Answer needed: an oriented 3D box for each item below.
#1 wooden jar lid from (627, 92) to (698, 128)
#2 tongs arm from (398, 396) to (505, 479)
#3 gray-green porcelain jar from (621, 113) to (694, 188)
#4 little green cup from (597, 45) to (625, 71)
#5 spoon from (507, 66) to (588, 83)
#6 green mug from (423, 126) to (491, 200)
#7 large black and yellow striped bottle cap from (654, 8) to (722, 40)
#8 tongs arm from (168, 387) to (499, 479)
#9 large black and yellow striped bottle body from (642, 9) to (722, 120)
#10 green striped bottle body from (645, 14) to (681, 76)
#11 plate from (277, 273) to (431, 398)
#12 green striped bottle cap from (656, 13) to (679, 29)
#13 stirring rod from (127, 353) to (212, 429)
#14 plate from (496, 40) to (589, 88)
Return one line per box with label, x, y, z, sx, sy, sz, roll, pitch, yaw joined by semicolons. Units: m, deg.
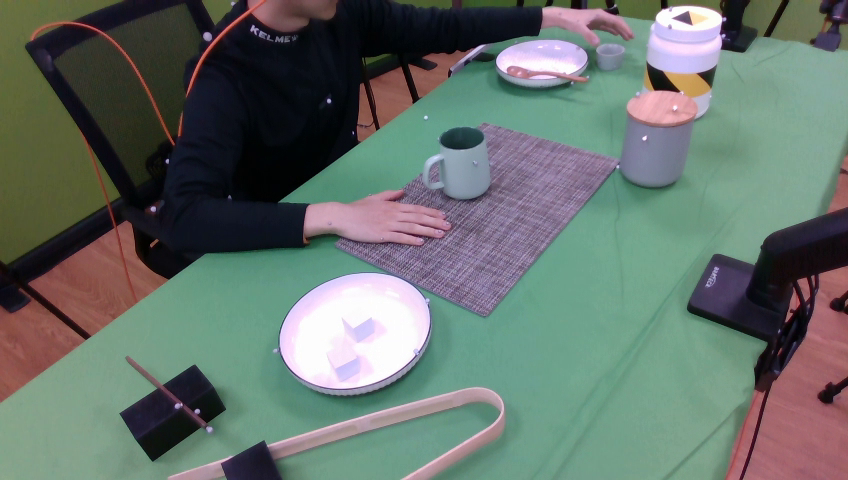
wooden jar lid;0.384;-0.207;0.980;0.108;0.021;0.108;-6;39;5
tongs arm;-0.071;0.272;0.652;0.386;0.026;0.050;-21;37;-17
gray-green porcelain jar;0.390;-0.161;1.020;0.106;0.127;0.105;-4;41;4
little green cup;0.422;-0.413;1.375;0.061;0.039;0.061;-3;41;3
spoon;0.265;-0.357;1.311;0.192;0.022;0.042;18;47;38
green mug;0.055;-0.125;1.039;0.126;0.105;0.091;-25;44;-19
large black and yellow striped bottle cap;0.483;-0.397;1.108;0.115;0.019;0.114;-3;41;3
tongs arm;-0.100;0.231;0.711;0.388;0.028;0.028;-13;32;-7
large black and yellow striped bottle body;0.493;-0.334;1.161;0.131;0.185;0.130;-4;41;4
green striped bottle body;0.520;-0.424;1.312;0.063;0.120;0.063;-4;41;4
plate;-0.091;0.129;0.821;0.207;0.039;0.206;-4;41;4
green striped bottle cap;0.515;-0.463;1.278;0.044;0.020;0.044;-6;42;6
stirring rod;-0.311;0.180;0.731;0.175;0.014;0.006;25;53;31
plate;0.269;-0.398;1.382;0.209;0.038;0.208;-4;41;4
